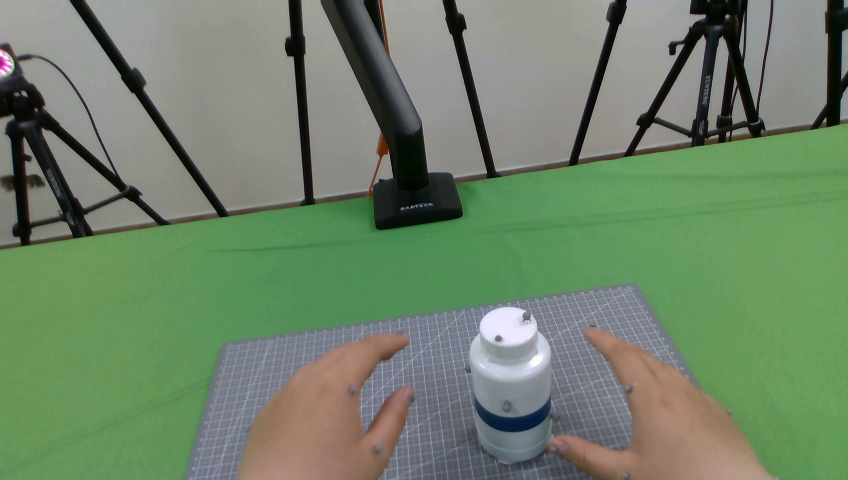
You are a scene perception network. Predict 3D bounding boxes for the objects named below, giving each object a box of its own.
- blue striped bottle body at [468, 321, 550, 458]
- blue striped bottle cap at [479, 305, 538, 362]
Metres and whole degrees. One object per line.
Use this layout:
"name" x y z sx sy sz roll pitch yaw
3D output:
"blue striped bottle body" 0.069 0.111 0.481 0.063 0.122 0.062 -5 35 4
"blue striped bottle cap" 0.062 0.069 0.453 0.044 0.021 0.044 -4 35 3
